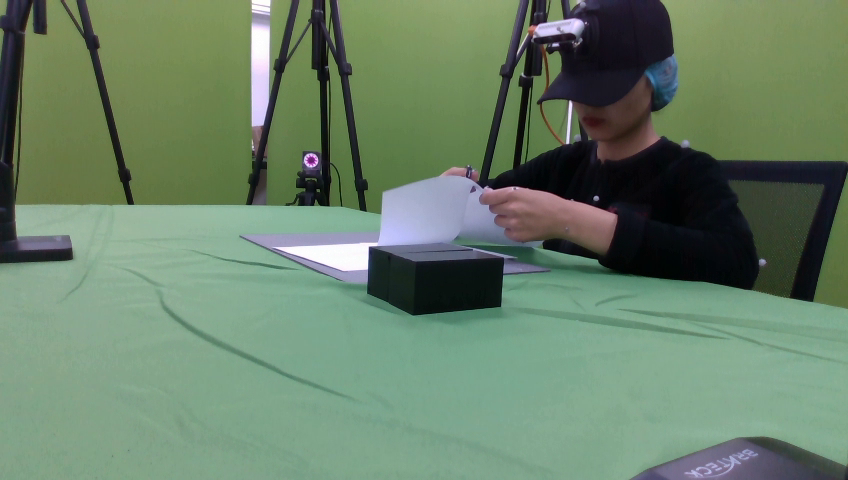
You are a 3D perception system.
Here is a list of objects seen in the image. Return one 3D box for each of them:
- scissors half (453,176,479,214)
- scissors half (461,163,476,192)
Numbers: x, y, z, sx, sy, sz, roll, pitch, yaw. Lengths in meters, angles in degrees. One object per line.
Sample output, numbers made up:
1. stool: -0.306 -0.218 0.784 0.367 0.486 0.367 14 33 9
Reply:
1. scissors half: 0.067 -0.074 0.954 0.013 0.040 0.175 17 -15 -4
2. scissors half: 0.072 -0.096 0.955 0.013 0.040 0.175 12 14 -4
